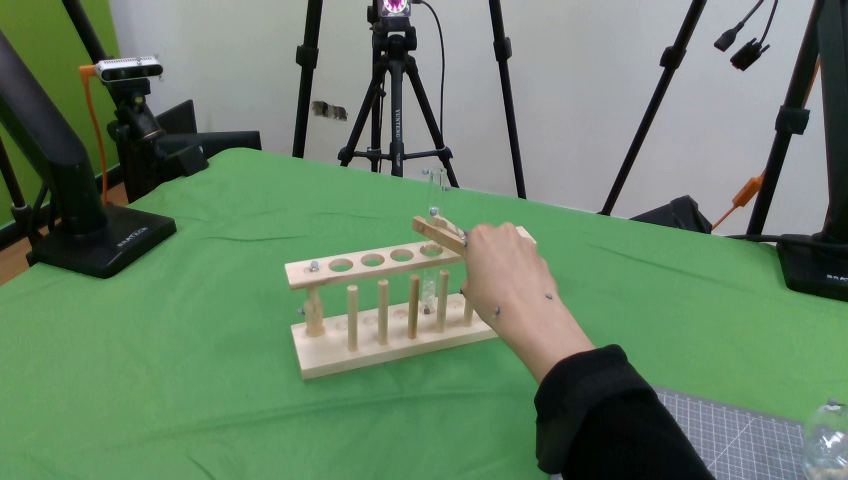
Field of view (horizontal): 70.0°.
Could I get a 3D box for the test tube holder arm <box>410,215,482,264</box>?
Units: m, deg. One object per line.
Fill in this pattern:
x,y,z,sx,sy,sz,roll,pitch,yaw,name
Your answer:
0.021,-0.001,0.548,0.087,0.015,0.010,27,38,36,test tube holder arm

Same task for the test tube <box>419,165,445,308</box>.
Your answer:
0.007,0.001,0.577,0.017,0.151,0.017,3,28,-1,test tube

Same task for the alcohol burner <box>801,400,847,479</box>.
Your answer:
0.324,0.137,0.438,0.078,0.120,0.077,2,34,-1,alcohol burner

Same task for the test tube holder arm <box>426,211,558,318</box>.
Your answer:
0.052,0.015,0.522,0.013,0.015,0.176,-18,35,-29,test tube holder arm

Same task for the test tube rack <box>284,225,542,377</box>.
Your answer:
-0.004,0.054,0.584,0.243,0.086,0.066,-9,34,-18,test tube rack

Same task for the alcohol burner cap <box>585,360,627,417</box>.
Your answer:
0.157,0.124,0.517,0.034,0.048,0.033,2,34,-1,alcohol burner cap
